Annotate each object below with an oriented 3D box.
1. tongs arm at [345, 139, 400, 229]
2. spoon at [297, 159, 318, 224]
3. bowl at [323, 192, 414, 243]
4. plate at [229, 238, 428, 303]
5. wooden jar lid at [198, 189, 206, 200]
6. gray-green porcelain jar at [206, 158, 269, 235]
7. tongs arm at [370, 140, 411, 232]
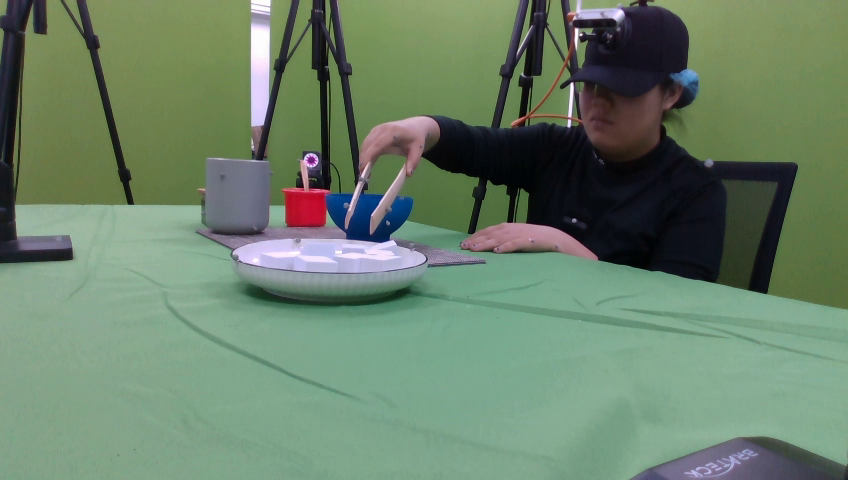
[{"bbox_3d":[-0.068,-0.094,0.888,0.051,0.026,0.384,6,22,-2],"label":"tongs arm"},{"bbox_3d":[-0.244,-0.103,1.251,0.042,0.021,0.193,1,51,-17],"label":"spoon"},{"bbox_3d":[-0.094,-0.037,1.015,0.151,0.077,0.151,3,7,0],"label":"bowl"},{"bbox_3d":[-0.099,0.032,0.651,0.209,0.038,0.209,3,8,0],"label":"plate"},{"bbox_3d":[-0.382,-0.088,1.175,0.108,0.020,0.108,3,8,0],"label":"wooden jar lid"},{"bbox_3d":[-0.322,-0.076,1.048,0.106,0.126,0.106,3,7,0],"label":"gray-green porcelain jar"},{"bbox_3d":[-0.047,-0.091,0.888,0.028,0.028,0.387,4,22,4],"label":"tongs arm"}]
